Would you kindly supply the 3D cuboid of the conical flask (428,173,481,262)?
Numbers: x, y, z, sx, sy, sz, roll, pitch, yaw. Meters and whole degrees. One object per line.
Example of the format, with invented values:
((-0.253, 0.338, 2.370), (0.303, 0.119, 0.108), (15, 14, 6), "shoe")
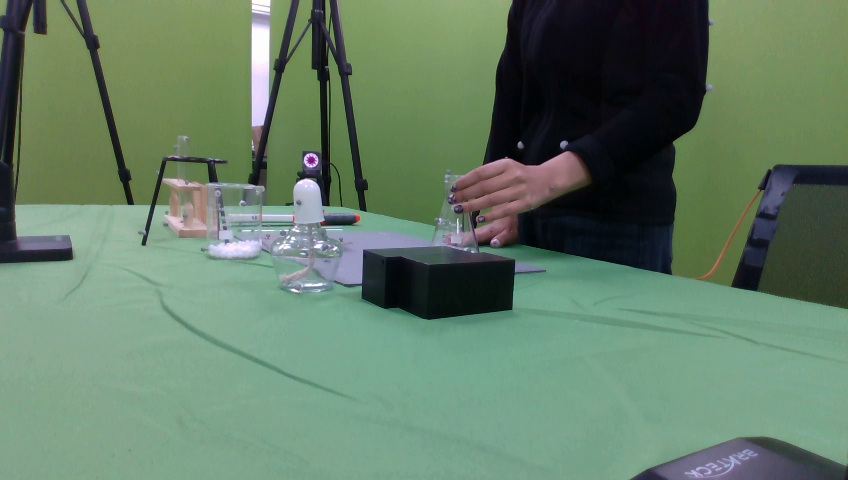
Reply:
((0.045, -0.033, 0.853), (0.075, 0.122, 0.075), (2, 7, 0), "conical flask")

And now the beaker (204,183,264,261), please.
((-0.254, -0.026, 0.817), (0.073, 0.100, 0.084), (9, 9, 39), "beaker")

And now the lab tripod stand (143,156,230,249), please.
((-0.338, -0.058, 0.908), (0.148, 0.131, 0.148), (4, 7, 0), "lab tripod stand")

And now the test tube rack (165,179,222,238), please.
((-0.423, -0.062, 1.098), (0.067, 0.085, 0.241), (-2, 9, -28), "test tube rack")

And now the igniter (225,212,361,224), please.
((-0.262, -0.044, 1.240), (0.278, 0.025, 0.057), (-2, -1, -31), "igniter")

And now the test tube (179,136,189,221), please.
((-0.425, -0.108, 1.070), (0.017, 0.150, 0.017), (4, 9, 0), "test tube")

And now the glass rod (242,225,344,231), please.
((-0.246, -0.023, 1.154), (0.201, 0.008, 0.008), (-2, 8, -31), "glass rod")

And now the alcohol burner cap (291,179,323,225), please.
((-0.124, -0.040, 0.632), (0.034, 0.048, 0.034), (-3, 10, 1), "alcohol burner cap")

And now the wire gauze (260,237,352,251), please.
((-0.184, 0.004, 0.938), (0.122, 0.011, 0.124), (-1, 5, -24), "wire gauze")

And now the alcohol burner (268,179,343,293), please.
((-0.124, -0.005, 0.637), (0.078, 0.119, 0.078), (4, 8, 0), "alcohol burner")
